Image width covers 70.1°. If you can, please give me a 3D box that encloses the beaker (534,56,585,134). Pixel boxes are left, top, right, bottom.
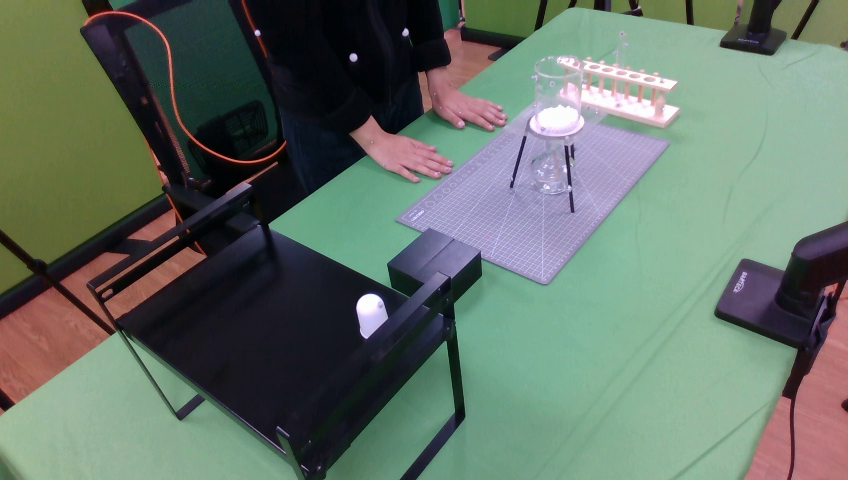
[{"bbox_3d":[0.209,-0.226,0.942,0.074,0.101,0.083,-2,41,7],"label":"beaker"}]

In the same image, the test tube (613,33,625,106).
[{"bbox_3d":[0.380,-0.330,1.180,0.017,0.151,0.017,-7,41,6],"label":"test tube"}]

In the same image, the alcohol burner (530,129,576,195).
[{"bbox_3d":[0.220,-0.137,1.029,0.078,0.119,0.077,-5,42,5],"label":"alcohol burner"}]

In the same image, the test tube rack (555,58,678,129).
[{"bbox_3d":[0.390,-0.307,1.229,0.240,0.085,0.067,25,50,33],"label":"test tube rack"}]

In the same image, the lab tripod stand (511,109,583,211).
[{"bbox_3d":[0.220,-0.138,1.014,0.148,0.132,0.147,-3,41,3],"label":"lab tripod stand"}]

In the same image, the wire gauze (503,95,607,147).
[{"bbox_3d":[0.211,-0.191,0.976,0.120,0.011,0.125,24,52,32],"label":"wire gauze"}]

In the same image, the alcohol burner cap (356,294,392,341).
[{"bbox_3d":[-0.051,0.074,0.601,0.034,0.048,0.033,-5,42,5],"label":"alcohol burner cap"}]
